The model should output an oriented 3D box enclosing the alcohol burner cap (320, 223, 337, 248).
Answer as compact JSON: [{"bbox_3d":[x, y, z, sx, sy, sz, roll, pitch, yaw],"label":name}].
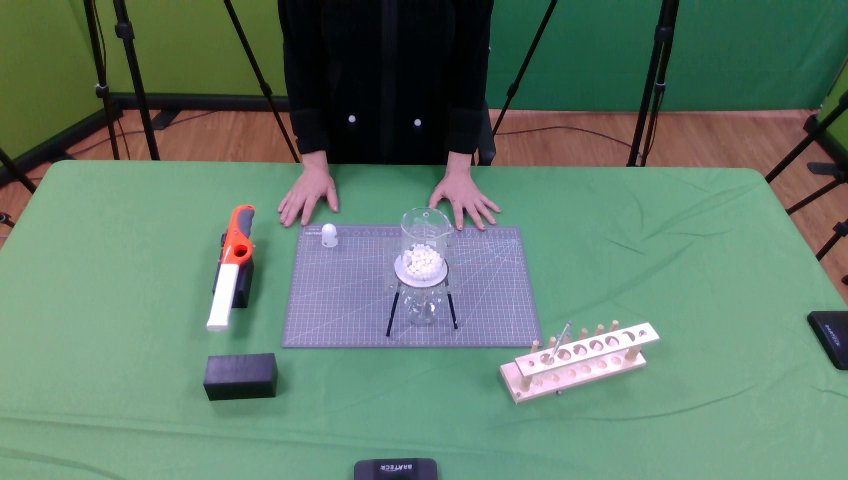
[{"bbox_3d":[-0.187,-0.011,1.176,0.034,0.048,0.033,2,46,-2],"label":"alcohol burner cap"}]

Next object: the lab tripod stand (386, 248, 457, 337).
[{"bbox_3d":[-0.010,0.087,1.032,0.148,0.132,0.147,1,45,-1],"label":"lab tripod stand"}]

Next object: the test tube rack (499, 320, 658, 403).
[{"bbox_3d":[0.252,0.187,0.994,0.243,0.085,0.066,-12,48,-15],"label":"test tube rack"}]

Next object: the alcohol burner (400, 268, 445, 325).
[{"bbox_3d":[-0.003,0.092,1.042,0.078,0.120,0.077,1,46,-1],"label":"alcohol burner"}]

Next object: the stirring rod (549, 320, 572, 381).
[{"bbox_3d":[0.202,0.168,0.901,0.006,0.177,0.014,-17,54,-11],"label":"stirring rod"}]

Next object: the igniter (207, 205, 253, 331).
[{"bbox_3d":[-0.339,0.038,1.066,0.057,0.025,0.274,2,48,-6],"label":"igniter"}]

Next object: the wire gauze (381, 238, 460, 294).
[{"bbox_3d":[-0.007,0.042,0.985,0.125,0.011,0.120,-1,43,-2],"label":"wire gauze"}]

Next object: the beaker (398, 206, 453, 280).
[{"bbox_3d":[0.000,0.008,0.950,0.084,0.101,0.073,10,45,6],"label":"beaker"}]
